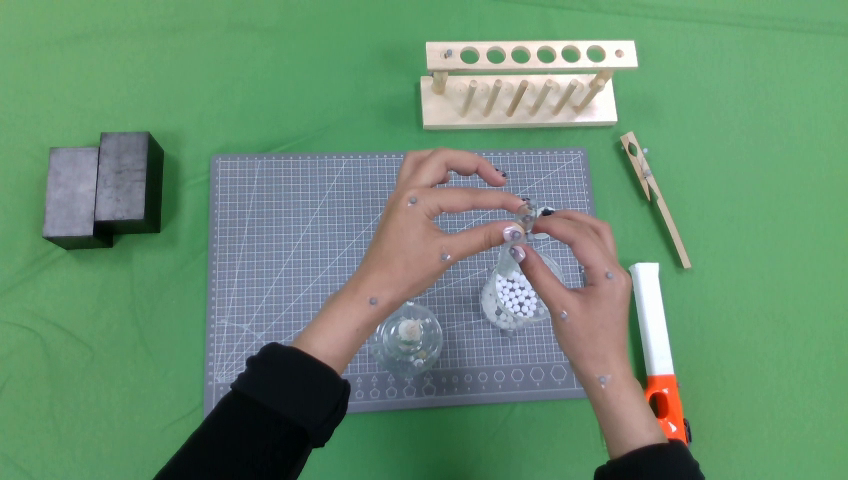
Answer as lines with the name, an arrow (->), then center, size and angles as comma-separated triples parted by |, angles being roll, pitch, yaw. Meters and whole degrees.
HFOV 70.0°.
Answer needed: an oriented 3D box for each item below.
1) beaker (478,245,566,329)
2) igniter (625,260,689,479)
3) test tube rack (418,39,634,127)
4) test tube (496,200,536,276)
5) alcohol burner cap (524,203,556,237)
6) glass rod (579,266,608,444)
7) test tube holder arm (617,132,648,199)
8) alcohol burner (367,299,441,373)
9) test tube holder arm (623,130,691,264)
beaker -> 0.097, 0.052, 0.648 | 0.074, 0.100, 0.083 | -35, 80, -13
igniter -> 0.260, 0.158, 0.677 | 0.057, 0.025, 0.275 | 1, 75, -16
test tube rack -> 0.117, -0.186, 0.721 | 0.243, 0.085, 0.066 | -2, 75, -6
test tube -> 0.074, 0.003, 0.506 | 0.017, 0.151, 0.017 | 0, 70, 1
alcohol burner cap -> 0.137, -0.025, 0.701 | 0.034, 0.048, 0.033 | 1, 76, -5
glass rod -> 0.191, 0.127, 0.685 | 0.008, 0.008, 0.198 | -3, 76, -6
test tube holder arm -> 0.261, -0.092, 0.747 | 0.010, 0.015, 0.087 | -26, 79, 23
alcohol burner -> -0.020, 0.095, 0.618 | 0.078, 0.119, 0.077 | 1, 73, -4
test tube holder arm -> 0.282, -0.054, 0.737 | 0.013, 0.015, 0.177 | -28, 78, 23
